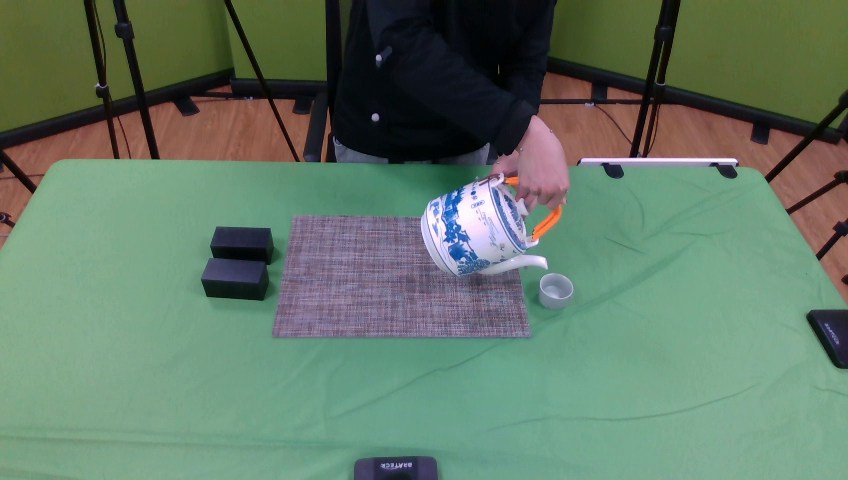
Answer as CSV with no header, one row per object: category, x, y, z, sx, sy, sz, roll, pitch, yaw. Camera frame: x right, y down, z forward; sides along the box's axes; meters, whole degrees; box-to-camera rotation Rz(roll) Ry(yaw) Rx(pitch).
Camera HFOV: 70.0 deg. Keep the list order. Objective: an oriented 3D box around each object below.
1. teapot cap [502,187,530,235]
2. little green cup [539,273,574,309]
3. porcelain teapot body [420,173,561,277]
teapot cap,0.151,-0.050,1.004,0.044,0.085,0.084,-20,42,20
little green cup,0.241,0.096,1.113,0.061,0.039,0.061,3,47,-3
porcelain teapot body,0.133,-0.014,1.035,0.225,0.206,0.144,-23,30,21
